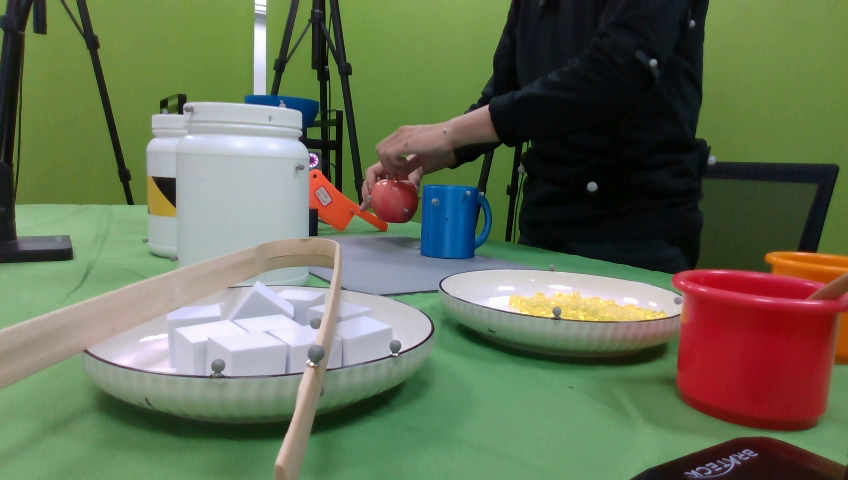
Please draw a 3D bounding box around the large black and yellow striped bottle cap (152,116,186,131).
[{"bbox_3d":[-0.309,-0.155,0.826,0.115,0.019,0.115,3,6,0],"label":"large black and yellow striped bottle cap"}]

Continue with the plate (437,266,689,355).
[{"bbox_3d":[0.114,0.057,0.517,0.209,0.038,0.209,3,7,0],"label":"plate"}]

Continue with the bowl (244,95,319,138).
[{"bbox_3d":[-0.293,-0.251,1.249,0.151,0.077,0.151,2,7,0],"label":"bowl"}]

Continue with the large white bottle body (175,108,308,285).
[{"bbox_3d":[-0.188,-0.042,0.630,0.131,0.184,0.130,2,8,0],"label":"large white bottle body"}]

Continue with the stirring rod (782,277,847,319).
[{"bbox_3d":[0.344,0.019,0.461,0.014,0.006,0.176,-13,-27,-30],"label":"stirring rod"}]

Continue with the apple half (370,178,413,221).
[{"bbox_3d":[-0.061,-0.071,1.041,0.081,0.081,0.032,-1,14,-24],"label":"apple half"}]

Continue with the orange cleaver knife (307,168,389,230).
[{"bbox_3d":[-0.158,-0.060,1.166,0.212,0.077,0.012,34,-12,-32],"label":"orange cleaver knife"}]

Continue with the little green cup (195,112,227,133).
[{"bbox_3d":[-0.412,-0.227,1.171,0.061,0.038,0.061,3,8,0],"label":"little green cup"}]

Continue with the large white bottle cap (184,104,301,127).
[{"bbox_3d":[-0.184,-0.126,0.618,0.115,0.018,0.115,2,8,0],"label":"large white bottle cap"}]

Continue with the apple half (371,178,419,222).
[{"bbox_3d":[-0.044,-0.065,1.004,0.081,0.074,0.053,6,6,-25],"label":"apple half"}]

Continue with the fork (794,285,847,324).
[{"bbox_3d":[0.332,0.018,0.443,0.028,0.018,0.207,-1,-36,-15],"label":"fork"}]

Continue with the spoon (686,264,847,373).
[{"bbox_3d":[0.215,0.032,0.328,0.042,0.021,0.193,-3,-35,-26],"label":"spoon"}]

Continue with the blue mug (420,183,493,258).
[{"bbox_3d":[0.052,-0.032,0.912,0.117,0.106,0.082,-1,8,-24],"label":"blue mug"}]

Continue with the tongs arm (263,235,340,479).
[{"bbox_3d":[-0.074,0.039,0.349,0.051,0.026,0.384,-2,10,-3],"label":"tongs arm"}]

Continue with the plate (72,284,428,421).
[{"bbox_3d":[-0.102,0.066,0.381,0.208,0.039,0.207,2,7,0],"label":"plate"}]

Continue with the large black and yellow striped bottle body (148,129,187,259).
[{"bbox_3d":[-0.310,-0.073,0.838,0.131,0.184,0.130,2,8,0],"label":"large black and yellow striped bottle body"}]

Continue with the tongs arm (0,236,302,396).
[{"bbox_3d":[-0.158,0.038,0.351,0.028,0.028,0.388,-3,8,12],"label":"tongs arm"}]
